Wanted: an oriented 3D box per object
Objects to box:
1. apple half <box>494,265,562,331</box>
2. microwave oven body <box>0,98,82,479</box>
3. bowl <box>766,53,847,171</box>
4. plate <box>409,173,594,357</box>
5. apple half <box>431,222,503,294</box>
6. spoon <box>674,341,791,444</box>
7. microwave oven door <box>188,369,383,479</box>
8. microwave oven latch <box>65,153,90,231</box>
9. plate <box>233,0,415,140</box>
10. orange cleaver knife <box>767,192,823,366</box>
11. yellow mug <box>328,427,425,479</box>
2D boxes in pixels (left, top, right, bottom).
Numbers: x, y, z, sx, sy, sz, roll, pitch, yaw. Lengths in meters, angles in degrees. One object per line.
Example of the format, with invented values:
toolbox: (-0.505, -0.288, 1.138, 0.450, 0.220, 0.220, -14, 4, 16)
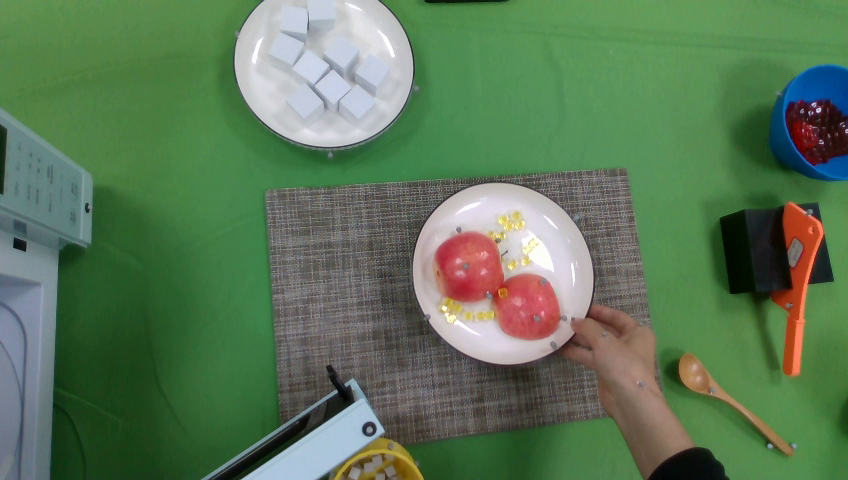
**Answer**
apple half: (0.117, 0.063, 0.671, 0.081, 0.033, 0.081, 1, 72, -2)
microwave oven body: (-0.493, 0.114, 0.495, 0.327, 0.260, 0.440, -2, 83, -9)
bowl: (0.502, -0.154, 0.782, 0.152, 0.077, 0.151, 1, 82, -8)
plate: (0.084, 0.028, 0.680, 0.209, 0.038, 0.208, 2, 77, -8)
apple half: (0.048, 0.017, 0.662, 0.075, 0.053, 0.080, -9, 79, -8)
spoon: (0.378, 0.191, 0.741, 0.194, 0.022, 0.041, 38, 60, -1)
microwave oven door: (-0.198, 0.230, 0.518, 0.356, 0.244, 0.039, -33, 86, -12)
microwave oven latch: (-0.369, -0.050, 0.636, 0.030, 0.029, 0.079, -1, 83, -9)
plate: (-0.116, -0.215, 0.718, 0.208, 0.039, 0.207, 1, 82, -8)
orange cleaver knife: (0.446, 0.049, 0.741, 0.012, 0.076, 0.212, -3, 106, -5)
yellow mug: (-0.053, 0.271, 0.641, 0.100, 0.064, 0.130, 7, 84, -8)
